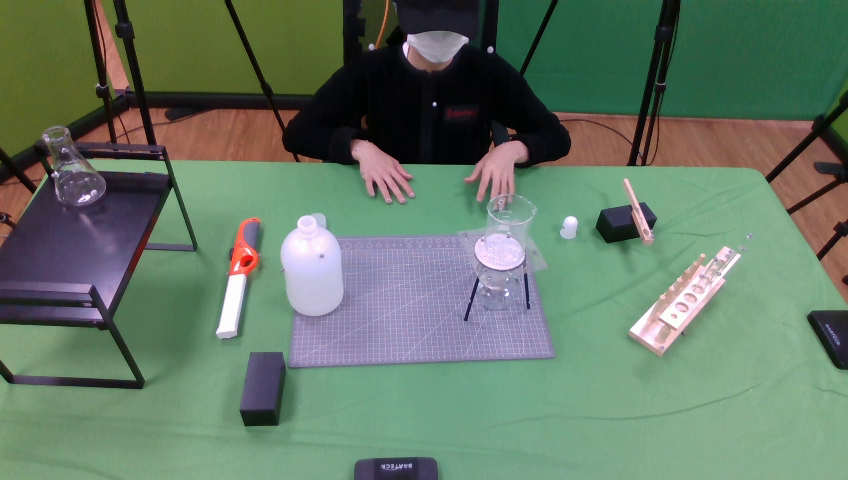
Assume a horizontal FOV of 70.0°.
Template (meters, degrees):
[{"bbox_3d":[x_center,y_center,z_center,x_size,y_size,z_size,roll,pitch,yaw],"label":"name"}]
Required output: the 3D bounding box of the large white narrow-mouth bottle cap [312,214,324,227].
[{"bbox_3d":[-0.219,-0.033,1.214,0.038,0.024,0.037,2,46,-2],"label":"large white narrow-mouth bottle cap"}]

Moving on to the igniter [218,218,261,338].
[{"bbox_3d":[-0.337,0.060,1.111,0.057,0.025,0.274,-7,46,4],"label":"igniter"}]

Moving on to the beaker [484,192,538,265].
[{"bbox_3d":[0.137,-0.016,0.980,0.084,0.101,0.073,-6,45,-9],"label":"beaker"}]

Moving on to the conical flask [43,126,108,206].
[{"bbox_3d":[-0.555,-0.119,0.953,0.075,0.122,0.075,2,46,-2],"label":"conical flask"}]

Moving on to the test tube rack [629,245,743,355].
[{"bbox_3d":[0.474,0.095,1.091,0.242,0.085,0.066,-34,56,-31],"label":"test tube rack"}]

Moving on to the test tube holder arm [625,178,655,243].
[{"bbox_3d":[0.433,-0.062,1.220,0.013,0.015,0.177,1,47,-3],"label":"test tube holder arm"}]

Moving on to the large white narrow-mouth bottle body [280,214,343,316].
[{"bbox_3d":[-0.190,0.035,1.025,0.102,0.195,0.101,2,46,-2],"label":"large white narrow-mouth bottle body"}]

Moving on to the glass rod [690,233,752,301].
[{"bbox_3d":[0.507,0.053,1.041,0.008,0.200,0.008,5,50,-6],"label":"glass rod"}]

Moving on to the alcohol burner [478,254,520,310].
[{"bbox_3d":[0.134,0.068,1.071,0.078,0.120,0.077,0,47,0],"label":"alcohol burner"}]

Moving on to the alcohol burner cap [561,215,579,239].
[{"bbox_3d":[0.299,-0.030,1.231,0.034,0.048,0.033,0,46,0],"label":"alcohol burner cap"}]

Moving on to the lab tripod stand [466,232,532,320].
[{"bbox_3d":[0.125,0.059,1.065,0.148,0.132,0.147,1,45,0],"label":"lab tripod stand"}]

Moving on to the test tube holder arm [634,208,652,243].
[{"bbox_3d":[0.428,-0.030,1.189,0.010,0.015,0.087,1,47,-3],"label":"test tube holder arm"}]

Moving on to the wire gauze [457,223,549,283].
[{"bbox_3d":[0.131,0.016,1.017,0.121,0.011,0.124,-10,44,-16],"label":"wire gauze"}]

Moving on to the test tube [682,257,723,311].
[{"bbox_3d":[0.475,0.080,1.037,0.017,0.151,0.017,1,51,-1],"label":"test tube"}]
